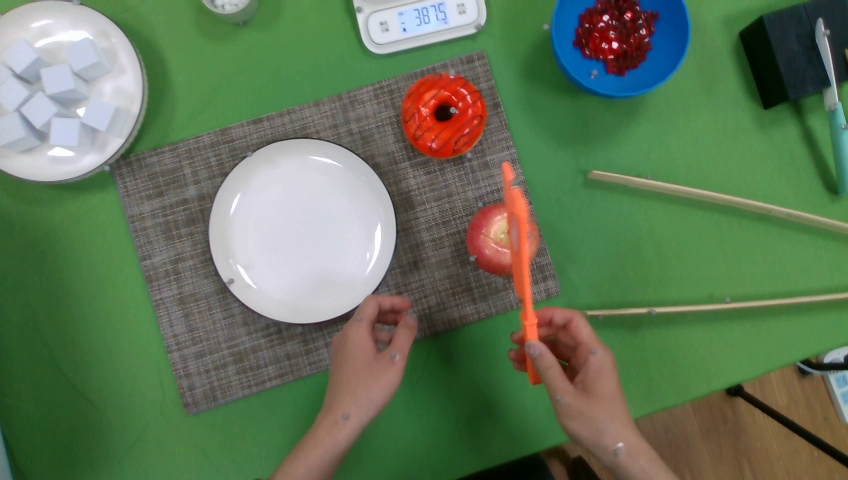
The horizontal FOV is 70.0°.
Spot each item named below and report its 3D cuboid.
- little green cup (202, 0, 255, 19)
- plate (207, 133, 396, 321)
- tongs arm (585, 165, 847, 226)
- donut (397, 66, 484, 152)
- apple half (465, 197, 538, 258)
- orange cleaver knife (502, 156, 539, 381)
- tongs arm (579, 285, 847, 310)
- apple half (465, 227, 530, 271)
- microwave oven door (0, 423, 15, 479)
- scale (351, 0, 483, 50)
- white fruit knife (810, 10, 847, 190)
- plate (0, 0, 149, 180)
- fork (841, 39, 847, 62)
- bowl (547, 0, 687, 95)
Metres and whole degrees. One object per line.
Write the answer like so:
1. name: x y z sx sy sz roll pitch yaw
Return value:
1. little green cup: -0.224 -0.285 0.692 0.061 0.038 0.061 0 87 -1
2. plate: -0.134 -0.015 0.681 0.209 0.038 0.209 0 88 -1
3. tongs arm: 0.375 -0.039 0.700 0.388 0.028 0.028 13 81 -1
4. donut: 0.018 -0.148 0.686 0.099 0.048 0.099 0 89 0
5. apple half: 0.091 -0.019 0.669 0.081 0.075 0.053 26 84 4
6. orange cleaver knife: 0.086 0.031 0.544 0.012 0.076 0.213 -9 118 2
7. tongs arm: 0.370 0.048 0.696 0.385 0.026 0.050 -2 85 -2
8. apple half: 0.074 0.016 0.667 0.081 0.081 0.033 27 84 0
9. microwave oven door: -0.485 0.179 0.549 0.039 0.244 0.355 -15 88 -2
10. scale: -0.021 -0.332 0.702 0.149 0.031 0.200 -13 89 -1
11. white fruit knife: 0.459 -0.154 0.684 0.016 0.027 0.208 -20 103 -1
12. plate: -0.412 -0.169 0.684 0.208 0.039 0.207 0 88 -1
13. fork: 0.518 -0.132 0.692 0.028 0.018 0.208 -27 104 -5
14. bowl: 0.205 -0.230 0.681 0.151 0.077 0.151 0 88 -1
